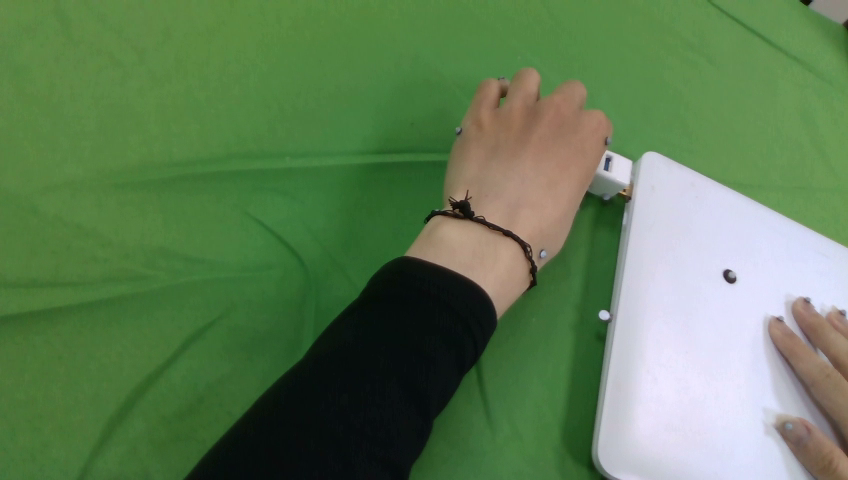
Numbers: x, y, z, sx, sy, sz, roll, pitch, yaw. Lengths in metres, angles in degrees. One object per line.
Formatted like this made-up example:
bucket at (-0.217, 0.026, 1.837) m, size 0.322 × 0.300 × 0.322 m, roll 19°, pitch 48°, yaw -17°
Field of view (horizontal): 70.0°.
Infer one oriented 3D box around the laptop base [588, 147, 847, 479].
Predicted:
laptop base at (0.276, 0.097, 0.410) m, size 0.355 × 0.023 × 0.234 m, roll 24°, pitch 61°, yaw -8°

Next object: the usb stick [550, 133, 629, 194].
usb stick at (0.117, -0.049, 0.409) m, size 0.059 × 0.027 × 0.021 m, roll 21°, pitch 65°, yaw -16°

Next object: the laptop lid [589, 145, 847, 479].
laptop lid at (0.279, 0.094, 0.400) m, size 0.358 × 0.013 × 0.240 m, roll 25°, pitch 60°, yaw -7°
